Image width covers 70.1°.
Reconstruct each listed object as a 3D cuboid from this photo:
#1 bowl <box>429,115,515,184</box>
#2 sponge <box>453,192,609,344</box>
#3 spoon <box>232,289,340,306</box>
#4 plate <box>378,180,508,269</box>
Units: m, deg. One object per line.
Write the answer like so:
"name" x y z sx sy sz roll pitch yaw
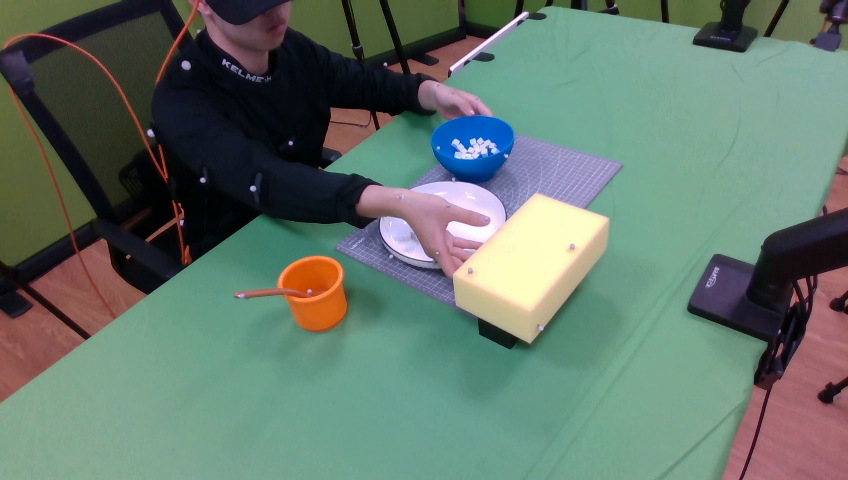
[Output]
"bowl" 0.089 -0.154 1.089 0.151 0.077 0.150 -4 40 4
"sponge" 0.147 0.029 0.808 0.117 0.061 0.207 23 49 31
"spoon" -0.181 0.074 0.812 0.041 0.195 0.021 16 90 31
"plate" 0.031 -0.022 0.974 0.209 0.038 0.208 -4 40 4
